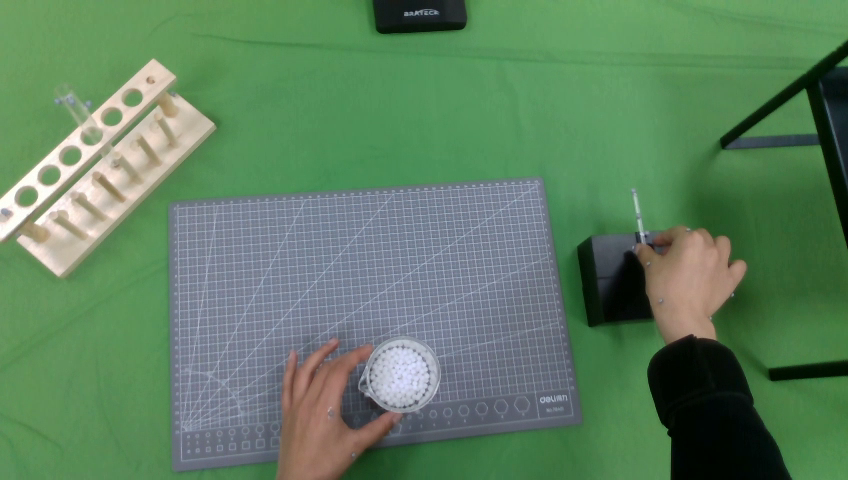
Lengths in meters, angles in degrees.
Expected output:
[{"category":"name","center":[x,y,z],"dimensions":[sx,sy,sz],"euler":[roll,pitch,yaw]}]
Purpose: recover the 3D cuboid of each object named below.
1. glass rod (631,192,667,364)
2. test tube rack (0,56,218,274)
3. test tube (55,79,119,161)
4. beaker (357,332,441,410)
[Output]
[{"category":"glass rod","center":[0.255,0.040,0.689],"dimensions":[0.008,0.008,0.198],"euler":[-4,77,-7]},{"category":"test tube rack","center":[-0.347,-0.081,0.666],"dimensions":[0.066,0.085,0.242],"euler":[39,76,5]},{"category":"test tube","center":[-0.342,-0.119,0.625],"dimensions":[0.017,0.151,0.017],"euler":[3,71,-8]},{"category":"beaker","center":[-0.028,0.141,0.637],"dimensions":[0.084,0.100,0.073],"euler":[-15,77,-9]}]
